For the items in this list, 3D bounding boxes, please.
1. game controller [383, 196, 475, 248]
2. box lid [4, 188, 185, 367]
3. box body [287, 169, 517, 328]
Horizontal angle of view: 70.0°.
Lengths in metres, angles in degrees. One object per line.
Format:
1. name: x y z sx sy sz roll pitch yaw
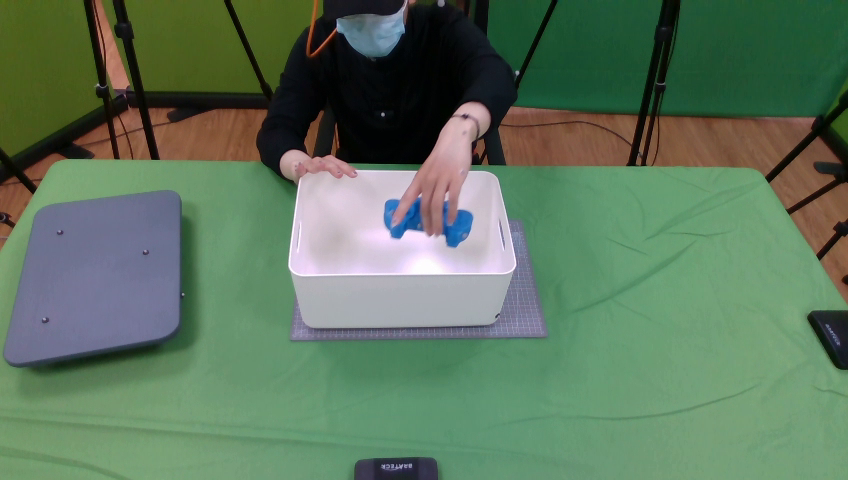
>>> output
1. game controller: 0.007 -0.040 1.001 0.155 0.052 0.096 8 42 1
2. box lid: -0.558 0.048 1.060 0.264 0.015 0.369 -10 48 -12
3. box body: -0.040 0.015 1.075 0.364 0.161 0.252 -1 47 -4
